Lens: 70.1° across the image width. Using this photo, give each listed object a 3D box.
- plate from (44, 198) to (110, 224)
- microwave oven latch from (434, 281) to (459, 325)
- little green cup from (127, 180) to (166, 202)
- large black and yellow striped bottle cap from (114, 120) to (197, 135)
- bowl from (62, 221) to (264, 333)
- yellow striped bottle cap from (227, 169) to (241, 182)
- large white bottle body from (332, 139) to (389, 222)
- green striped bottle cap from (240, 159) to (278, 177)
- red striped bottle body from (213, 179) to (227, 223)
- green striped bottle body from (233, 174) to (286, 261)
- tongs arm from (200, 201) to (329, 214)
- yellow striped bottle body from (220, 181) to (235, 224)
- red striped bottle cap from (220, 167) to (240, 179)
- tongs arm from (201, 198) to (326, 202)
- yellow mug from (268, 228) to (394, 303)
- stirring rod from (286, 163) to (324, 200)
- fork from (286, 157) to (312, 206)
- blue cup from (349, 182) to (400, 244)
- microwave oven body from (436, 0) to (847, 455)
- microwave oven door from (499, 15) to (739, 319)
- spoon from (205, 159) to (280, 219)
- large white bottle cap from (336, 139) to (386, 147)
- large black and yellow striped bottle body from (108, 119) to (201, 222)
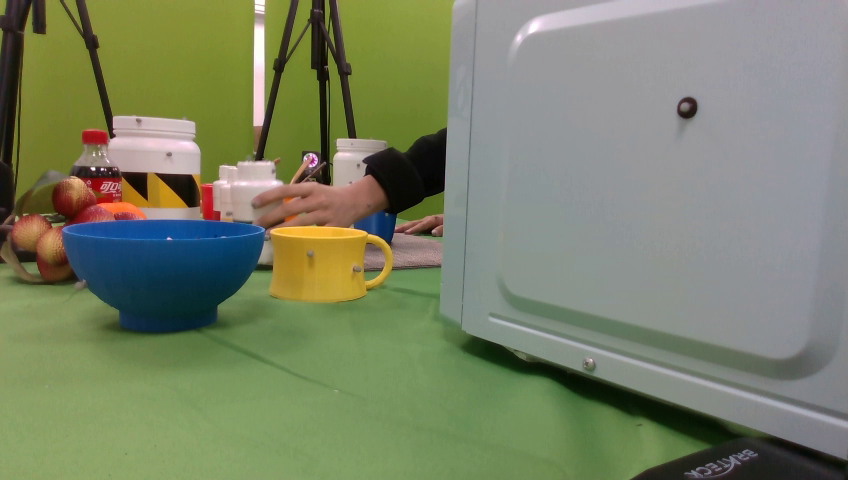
[{"bbox_3d":[-0.617,-0.056,1.179,0.209,0.038,0.209,3,7,0],"label":"plate"},{"bbox_3d":[0.044,0.045,0.470,0.079,0.029,0.030,-2,8,-39],"label":"microwave oven latch"},{"bbox_3d":[-0.486,-0.086,1.061,0.061,0.038,0.061,1,7,0],"label":"little green cup"},{"bbox_3d":[-0.407,-0.171,0.920,0.115,0.019,0.115,2,9,0],"label":"large black and yellow striped bottle cap"},{"bbox_3d":[-0.209,0.029,0.496,0.151,0.077,0.151,2,7,0],"label":"bowl"},{"bbox_3d":[-0.243,-0.087,0.818,0.044,0.018,0.044,2,6,0],"label":"yellow striped bottle cap"},{"bbox_3d":[-0.145,-0.136,1.387,0.131,0.184,0.130,2,7,0],"label":"large white bottle body"},{"bbox_3d":[-0.201,-0.088,0.736,0.044,0.020,0.044,-1,14,1],"label":"green striped bottle cap"},{"bbox_3d":[-0.284,-0.048,0.909,0.063,0.119,0.063,3,11,0],"label":"red striped bottle body"},{"bbox_3d":[-0.202,-0.038,0.746,0.063,0.119,0.063,1,11,0],"label":"green striped bottle body"},{"bbox_3d":[-0.378,-0.079,1.440,0.387,0.026,0.050,-4,8,-44],"label":"tongs arm"},{"bbox_3d":[-0.246,-0.036,0.825,0.063,0.120,0.063,2,8,0],"label":"yellow striped bottle body"},{"bbox_3d":[-0.281,-0.100,0.901,0.044,0.017,0.044,0,5,0],"label":"red striped bottle cap"},{"bbox_3d":[-0.433,-0.090,1.507,0.390,0.028,0.028,-1,2,-29],"label":"tongs arm"},{"bbox_3d":[-0.094,0.023,0.629,0.131,0.064,0.099,0,6,-22],"label":"yellow mug"},{"bbox_3d":[-0.278,-0.105,1.294,0.176,0.006,0.014,-47,25,-18],"label":"stirring rod"},{"bbox_3d":[-0.289,-0.116,1.321,0.028,0.019,0.207,6,51,19],"label":"fork"},{"bbox_3d":[-0.082,-0.046,1.009,0.093,0.100,0.092,0,6,0],"label":"blue cup"},{"bbox_3d":[0.279,-0.040,0.465,0.444,0.260,0.324,-3,9,-41],"label":"microwave oven body"},{"bbox_3d":[0.216,-0.065,0.602,0.358,0.243,0.039,-4,11,-41],"label":"microwave oven door"},{"bbox_3d":[-0.365,-0.103,1.214,0.193,0.021,0.041,-42,4,6],"label":"spoon"},{"bbox_3d":[-0.143,-0.219,1.375,0.115,0.018,0.115,2,8,0],"label":"large white bottle cap"},{"bbox_3d":[-0.412,-0.088,0.930,0.131,0.184,0.130,3,7,0],"label":"large black and yellow striped bottle body"}]
